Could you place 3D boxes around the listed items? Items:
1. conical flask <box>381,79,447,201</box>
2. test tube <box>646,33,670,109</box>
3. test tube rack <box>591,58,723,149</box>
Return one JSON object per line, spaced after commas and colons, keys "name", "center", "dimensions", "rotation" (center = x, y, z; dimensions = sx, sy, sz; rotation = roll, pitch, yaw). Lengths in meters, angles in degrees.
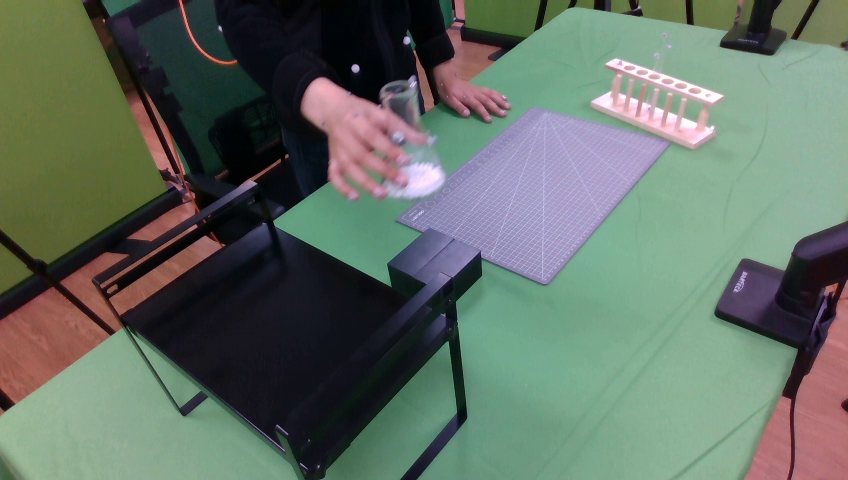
{"name": "conical flask", "center": [-0.017, -0.109, 0.651], "dimensions": [0.075, 0.122, 0.075], "rotation": [-5, 37, 5]}
{"name": "test tube", "center": [0.445, -0.320, 1.154], "dimensions": [0.017, 0.151, 0.017], "rotation": [-1, 41, 2]}
{"name": "test tube rack", "center": [0.442, -0.269, 1.171], "dimensions": [0.067, 0.085, 0.240], "rotation": [-30, 46, -24]}
